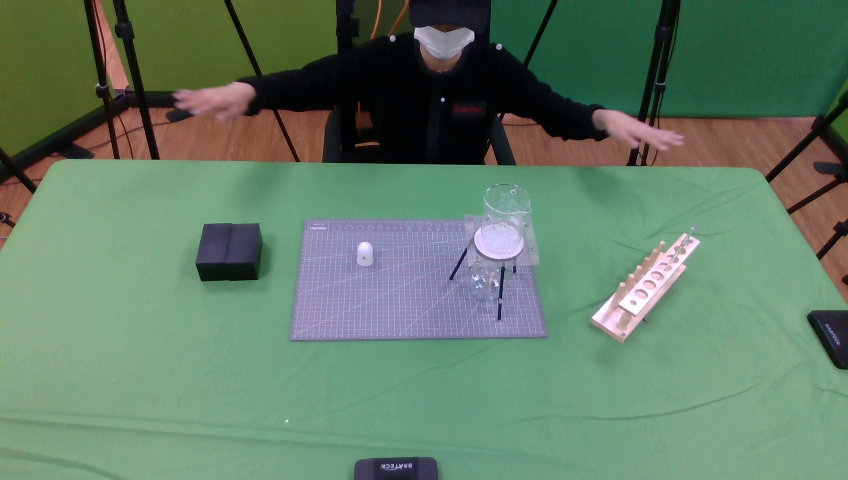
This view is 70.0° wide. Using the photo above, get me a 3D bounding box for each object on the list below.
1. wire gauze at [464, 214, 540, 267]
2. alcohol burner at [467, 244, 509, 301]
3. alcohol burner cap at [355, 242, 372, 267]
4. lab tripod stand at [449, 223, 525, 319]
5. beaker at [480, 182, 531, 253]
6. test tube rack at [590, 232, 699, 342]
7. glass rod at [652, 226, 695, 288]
[{"bbox_3d":[0.131,-0.001,1.035,0.121,0.011,0.124,1,44,-2],"label":"wire gauze"},{"bbox_3d":[0.116,0.053,1.087,0.078,0.120,0.077,1,44,-1],"label":"alcohol burner"},{"bbox_3d":[-0.114,0.024,1.147,0.034,0.048,0.033,2,45,-2],"label":"alcohol burner cap"},{"bbox_3d":[0.120,0.046,1.080,0.148,0.132,0.147,1,47,-1],"label":"lab tripod stand"},{"bbox_3d":[0.133,-0.033,0.998,0.083,0.101,0.074,26,51,22],"label":"beaker"},{"bbox_3d":[0.407,0.074,1.112,0.066,0.085,0.242,35,53,26],"label":"test tube rack"},{"bbox_3d":[0.432,0.037,1.057,0.008,0.200,0.008,1,54,-1],"label":"glass rod"}]
